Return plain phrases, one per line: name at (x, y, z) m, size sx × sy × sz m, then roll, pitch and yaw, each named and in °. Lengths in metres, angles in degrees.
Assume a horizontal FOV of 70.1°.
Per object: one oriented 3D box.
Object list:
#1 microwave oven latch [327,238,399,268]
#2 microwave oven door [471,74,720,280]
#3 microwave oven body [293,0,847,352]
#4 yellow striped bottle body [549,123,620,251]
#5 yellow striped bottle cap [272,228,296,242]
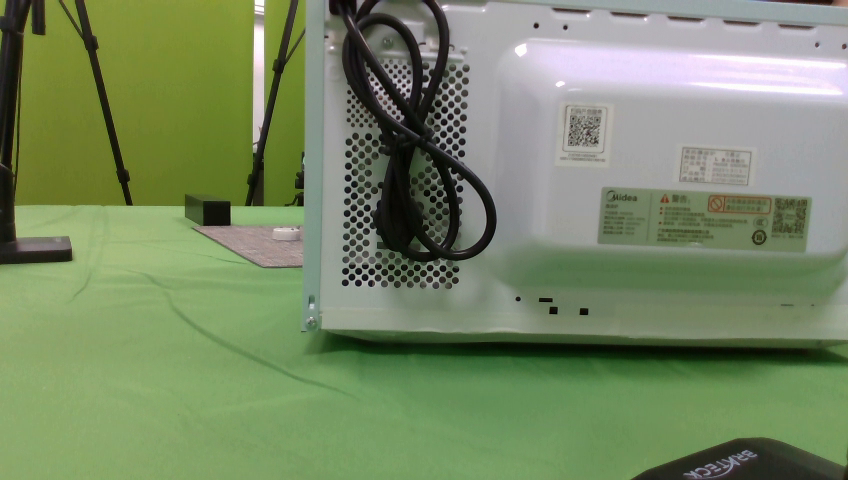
microwave oven latch at (-0.069, 0.015, 0.694) m, size 0.079 × 0.029 × 0.030 m, roll 3°, pitch 7°, yaw -3°
microwave oven door at (0.211, -0.093, 0.834) m, size 0.039 × 0.243 × 0.354 m, roll -5°, pitch 10°, yaw -43°
microwave oven body at (0.122, -0.055, 0.550) m, size 0.442 × 0.260 × 0.325 m, roll 3°, pitch 7°, yaw -5°
yellow striped bottle body at (0.156, -0.051, 0.588) m, size 0.063 × 0.120 × 0.063 m, roll 2°, pitch 1°, yaw 0°
yellow striped bottle cap at (-0.232, -0.008, 1.011) m, size 0.044 × 0.018 × 0.044 m, roll 4°, pitch 8°, yaw 0°
